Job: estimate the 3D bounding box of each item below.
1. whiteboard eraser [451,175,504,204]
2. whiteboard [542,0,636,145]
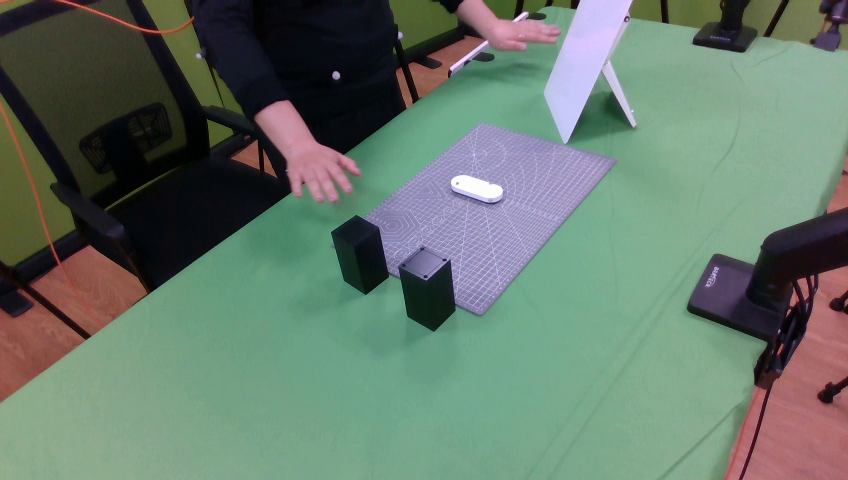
[{"bbox_3d":[0.093,-0.089,1.059,0.100,0.019,0.041,21,48,30],"label":"whiteboard eraser"},{"bbox_3d":[0.365,-0.351,1.160,0.144,0.305,0.216,9,39,-10],"label":"whiteboard"}]
